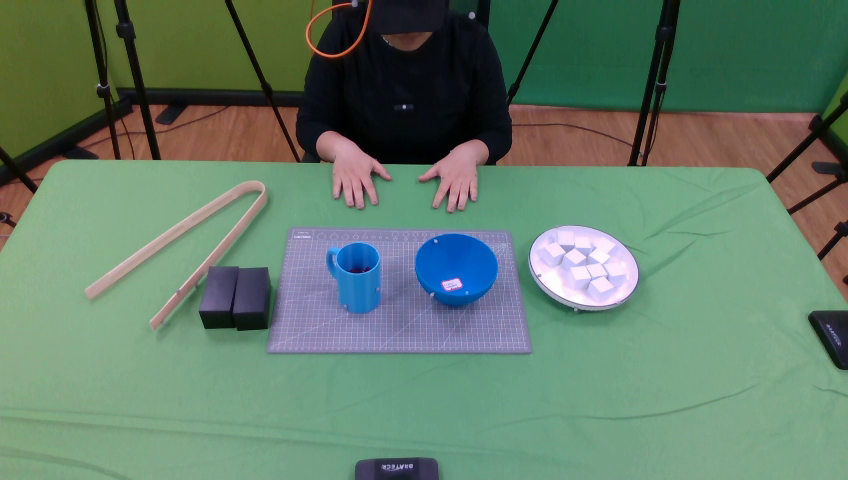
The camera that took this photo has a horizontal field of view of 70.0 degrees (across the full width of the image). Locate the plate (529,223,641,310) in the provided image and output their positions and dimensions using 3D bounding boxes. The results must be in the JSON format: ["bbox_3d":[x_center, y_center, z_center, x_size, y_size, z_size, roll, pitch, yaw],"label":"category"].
[{"bbox_3d":[0.303,0.053,1.156,0.209,0.038,0.208,2,46,-2],"label":"plate"}]

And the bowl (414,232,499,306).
[{"bbox_3d":[0.056,0.066,1.095,0.151,0.077,0.150,2,46,-2],"label":"bowl"}]

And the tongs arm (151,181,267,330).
[{"bbox_3d":[-0.400,0.014,1.145,0.050,0.027,0.383,14,46,18],"label":"tongs arm"}]

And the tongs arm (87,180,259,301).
[{"bbox_3d":[-0.473,-0.011,1.172,0.028,0.028,0.387,22,49,30],"label":"tongs arm"}]

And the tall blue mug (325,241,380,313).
[{"bbox_3d":[-0.130,0.063,1.062,0.107,0.108,0.077,9,47,5],"label":"tall blue mug"}]
